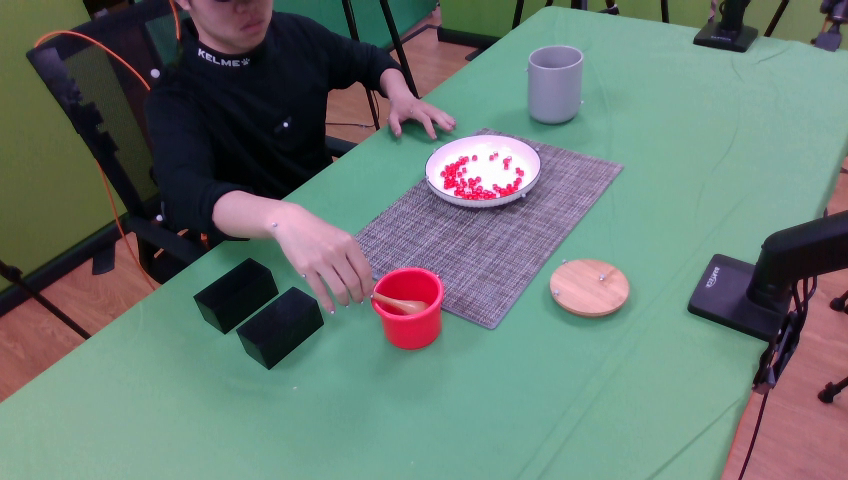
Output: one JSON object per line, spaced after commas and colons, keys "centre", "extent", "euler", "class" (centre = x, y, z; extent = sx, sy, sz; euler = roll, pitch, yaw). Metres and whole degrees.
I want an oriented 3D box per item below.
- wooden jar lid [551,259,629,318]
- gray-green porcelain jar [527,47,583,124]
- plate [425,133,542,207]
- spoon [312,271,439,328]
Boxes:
{"centre": [0.234, 0.070, 0.857], "extent": [0.108, 0.021, 0.108], "euler": [-5, 40, 5], "class": "wooden jar lid"}
{"centre": [0.260, -0.305, 1.207], "extent": [0.106, 0.127, 0.105], "euler": [-4, 41, 4], "class": "gray-green porcelain jar"}
{"centre": [0.106, -0.122, 1.079], "extent": [0.207, 0.039, 0.206], "euler": [-4, 41, 4], "class": "plate"}
{"centre": [-0.059, 0.079, 0.787], "extent": [0.041, 0.195, 0.021], "euler": [4, 74, 60], "class": "spoon"}
